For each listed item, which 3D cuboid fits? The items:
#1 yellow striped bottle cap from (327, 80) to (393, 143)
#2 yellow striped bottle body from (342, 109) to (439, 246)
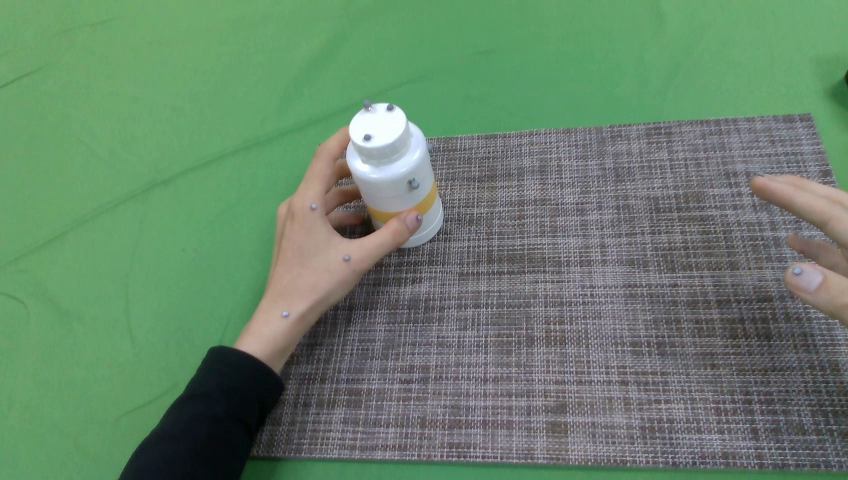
[{"bbox_3d":[-0.044,-0.090,0.425,0.044,0.019,0.044,-6,64,12],"label":"yellow striped bottle cap"},{"bbox_3d":[-0.027,-0.052,0.486,0.063,0.121,0.062,-5,57,8],"label":"yellow striped bottle body"}]
